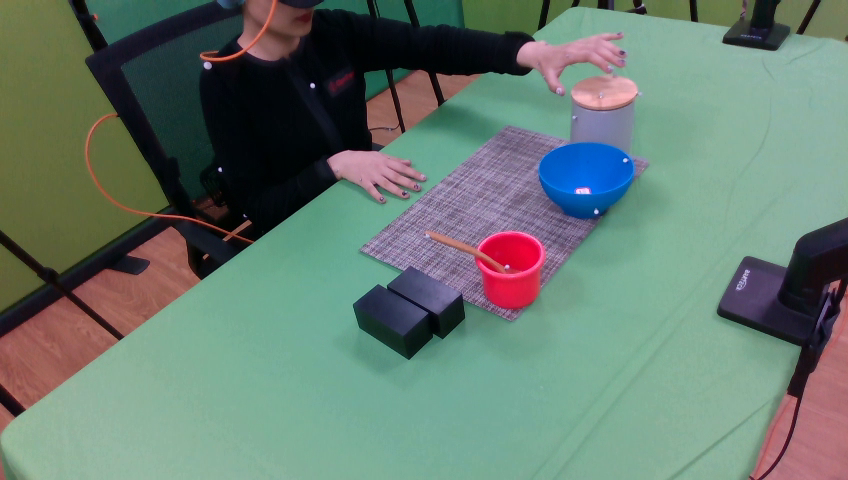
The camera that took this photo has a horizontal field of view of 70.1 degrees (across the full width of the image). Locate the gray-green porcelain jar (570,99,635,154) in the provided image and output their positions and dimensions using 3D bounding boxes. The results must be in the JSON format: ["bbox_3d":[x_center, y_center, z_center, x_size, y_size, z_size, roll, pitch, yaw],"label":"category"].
[{"bbox_3d":[0.313,-0.197,1.069,0.106,0.127,0.105,-5,40,5],"label":"gray-green porcelain jar"}]

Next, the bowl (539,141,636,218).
[{"bbox_3d":[0.264,-0.089,0.989,0.151,0.077,0.150,-5,40,5],"label":"bowl"}]

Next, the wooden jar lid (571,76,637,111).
[{"bbox_3d":[0.305,-0.246,1.027,0.108,0.021,0.108,-5,41,5],"label":"wooden jar lid"}]

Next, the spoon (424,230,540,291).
[{"bbox_3d":[0.083,0.026,0.836,0.195,0.021,0.041,29,31,-24],"label":"spoon"}]
